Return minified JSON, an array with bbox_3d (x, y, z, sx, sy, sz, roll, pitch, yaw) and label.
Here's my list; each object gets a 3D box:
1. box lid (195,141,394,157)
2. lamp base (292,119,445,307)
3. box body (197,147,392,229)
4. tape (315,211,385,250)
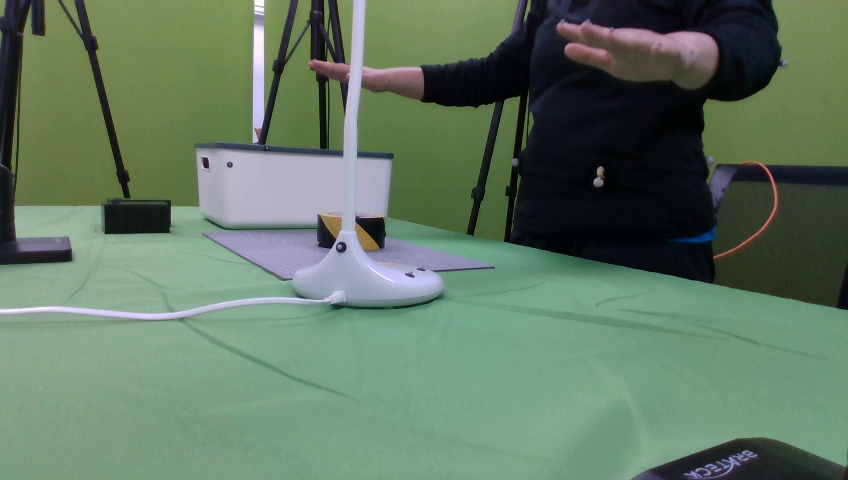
[{"bbox_3d":[-0.277,-0.190,1.282,0.373,0.015,0.262,-1,8,-30],"label":"box lid"},{"bbox_3d":[-0.056,-0.030,0.616,0.160,0.180,0.179,3,10,8],"label":"lamp base"},{"bbox_3d":[-0.278,-0.117,1.292,0.366,0.160,0.253,-2,8,-30],"label":"box body"},{"bbox_3d":[-0.119,-0.017,0.973,0.117,0.052,0.117,2,7,0],"label":"tape"}]
